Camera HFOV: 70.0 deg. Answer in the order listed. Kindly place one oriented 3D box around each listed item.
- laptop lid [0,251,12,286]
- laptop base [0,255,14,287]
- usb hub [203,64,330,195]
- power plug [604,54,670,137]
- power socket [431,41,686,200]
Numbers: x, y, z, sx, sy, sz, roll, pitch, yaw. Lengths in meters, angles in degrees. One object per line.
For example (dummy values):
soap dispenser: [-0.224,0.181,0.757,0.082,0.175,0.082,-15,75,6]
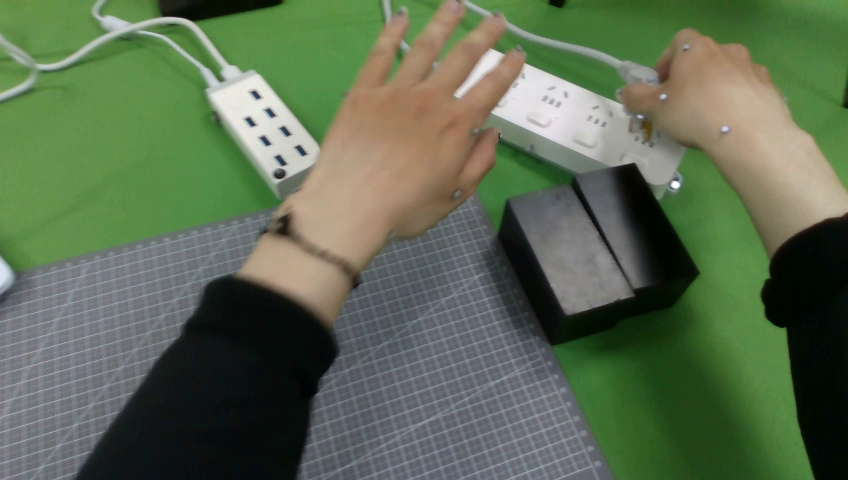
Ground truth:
laptop lid: [-0.484,0.064,0.381,0.240,0.013,0.356,39,64,18]
laptop base: [-0.486,0.070,0.392,0.234,0.023,0.353,38,64,16]
usb hub: [-0.133,-0.094,0.506,0.049,0.025,0.124,-32,65,-19]
power plug: [0.173,-0.120,0.496,0.035,0.053,0.072,-5,35,-3]
power socket: [0.115,-0.106,0.521,0.225,0.033,0.072,28,60,14]
